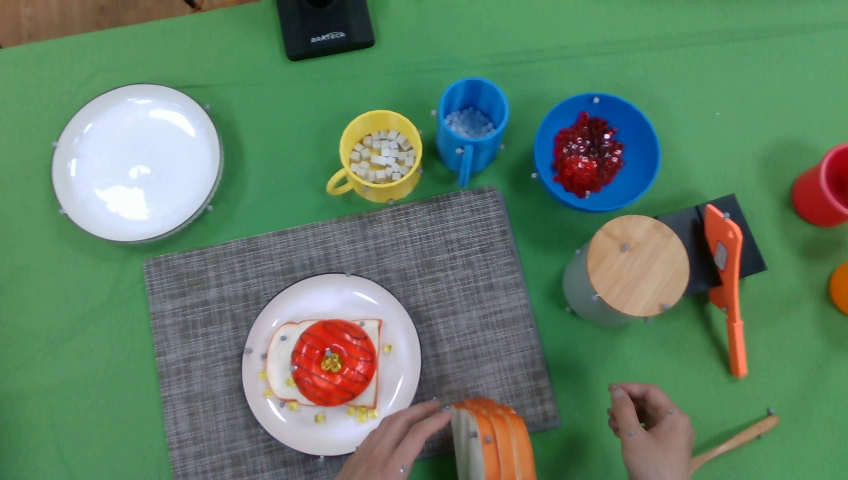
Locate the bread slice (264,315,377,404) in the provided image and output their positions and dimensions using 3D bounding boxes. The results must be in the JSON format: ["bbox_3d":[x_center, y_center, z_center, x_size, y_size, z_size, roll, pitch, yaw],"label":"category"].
[{"bbox_3d":[-0.121,0.140,0.713,0.132,0.019,0.104,1,77,-6],"label":"bread slice"}]

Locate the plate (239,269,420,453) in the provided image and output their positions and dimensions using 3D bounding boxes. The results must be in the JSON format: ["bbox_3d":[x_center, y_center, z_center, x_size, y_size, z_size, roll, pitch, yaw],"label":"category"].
[{"bbox_3d":[-0.108,0.138,0.709,0.209,0.038,0.208,0,77,-1],"label":"plate"}]

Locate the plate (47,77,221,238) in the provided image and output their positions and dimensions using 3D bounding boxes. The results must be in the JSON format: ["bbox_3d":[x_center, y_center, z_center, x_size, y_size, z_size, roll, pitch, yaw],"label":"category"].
[{"bbox_3d":[-0.356,-0.101,0.758,0.208,0.039,0.206,0,78,-2],"label":"plate"}]

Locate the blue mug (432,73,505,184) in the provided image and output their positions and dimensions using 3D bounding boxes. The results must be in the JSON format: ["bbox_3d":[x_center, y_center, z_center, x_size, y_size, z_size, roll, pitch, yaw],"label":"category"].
[{"bbox_3d":[0.050,-0.127,0.742,0.082,0.106,0.116,8,77,0],"label":"blue mug"}]

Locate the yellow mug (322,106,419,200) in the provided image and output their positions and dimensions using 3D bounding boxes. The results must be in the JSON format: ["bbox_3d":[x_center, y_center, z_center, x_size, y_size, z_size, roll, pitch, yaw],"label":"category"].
[{"bbox_3d":[-0.070,-0.098,0.752,0.131,0.064,0.099,-34,80,-7],"label":"yellow mug"}]

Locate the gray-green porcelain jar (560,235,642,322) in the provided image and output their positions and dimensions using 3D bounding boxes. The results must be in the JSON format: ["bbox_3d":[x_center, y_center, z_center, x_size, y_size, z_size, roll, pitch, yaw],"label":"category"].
[{"bbox_3d":[0.218,0.039,0.700,0.106,0.127,0.105,0,77,-2],"label":"gray-green porcelain jar"}]

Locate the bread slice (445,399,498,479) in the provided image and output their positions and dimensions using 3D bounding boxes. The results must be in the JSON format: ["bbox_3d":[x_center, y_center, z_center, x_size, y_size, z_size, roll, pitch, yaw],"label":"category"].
[{"bbox_3d":[0.050,0.224,0.650,0.018,0.134,0.106,-5,76,-12],"label":"bread slice"}]

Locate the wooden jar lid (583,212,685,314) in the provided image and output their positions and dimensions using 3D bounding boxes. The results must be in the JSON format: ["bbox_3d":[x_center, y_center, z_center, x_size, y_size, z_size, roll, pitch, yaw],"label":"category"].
[{"bbox_3d":[0.219,0.024,0.639,0.108,0.021,0.108,1,80,-4],"label":"wooden jar lid"}]

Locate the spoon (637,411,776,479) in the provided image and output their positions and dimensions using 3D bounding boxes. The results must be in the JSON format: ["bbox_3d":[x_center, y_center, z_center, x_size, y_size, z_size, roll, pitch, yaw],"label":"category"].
[{"bbox_3d":[0.335,0.245,0.711,0.194,0.022,0.041,-23,61,-6],"label":"spoon"}]

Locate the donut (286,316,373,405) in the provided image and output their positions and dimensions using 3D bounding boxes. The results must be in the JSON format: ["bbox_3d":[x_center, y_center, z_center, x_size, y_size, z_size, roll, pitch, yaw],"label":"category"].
[{"bbox_3d":[-0.105,0.135,0.681,0.099,0.048,0.098,1,79,-5],"label":"donut"}]

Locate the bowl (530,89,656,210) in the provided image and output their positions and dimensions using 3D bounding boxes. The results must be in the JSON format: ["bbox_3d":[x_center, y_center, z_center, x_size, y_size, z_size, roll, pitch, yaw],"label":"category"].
[{"bbox_3d":[0.201,-0.101,0.755,0.151,0.077,0.150,0,78,-1],"label":"bowl"}]

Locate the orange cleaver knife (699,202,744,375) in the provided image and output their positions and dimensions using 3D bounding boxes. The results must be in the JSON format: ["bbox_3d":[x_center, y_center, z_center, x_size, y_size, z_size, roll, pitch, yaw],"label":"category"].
[{"bbox_3d":[0.353,0.059,0.722,0.012,0.076,0.212,-15,108,-4],"label":"orange cleaver knife"}]
